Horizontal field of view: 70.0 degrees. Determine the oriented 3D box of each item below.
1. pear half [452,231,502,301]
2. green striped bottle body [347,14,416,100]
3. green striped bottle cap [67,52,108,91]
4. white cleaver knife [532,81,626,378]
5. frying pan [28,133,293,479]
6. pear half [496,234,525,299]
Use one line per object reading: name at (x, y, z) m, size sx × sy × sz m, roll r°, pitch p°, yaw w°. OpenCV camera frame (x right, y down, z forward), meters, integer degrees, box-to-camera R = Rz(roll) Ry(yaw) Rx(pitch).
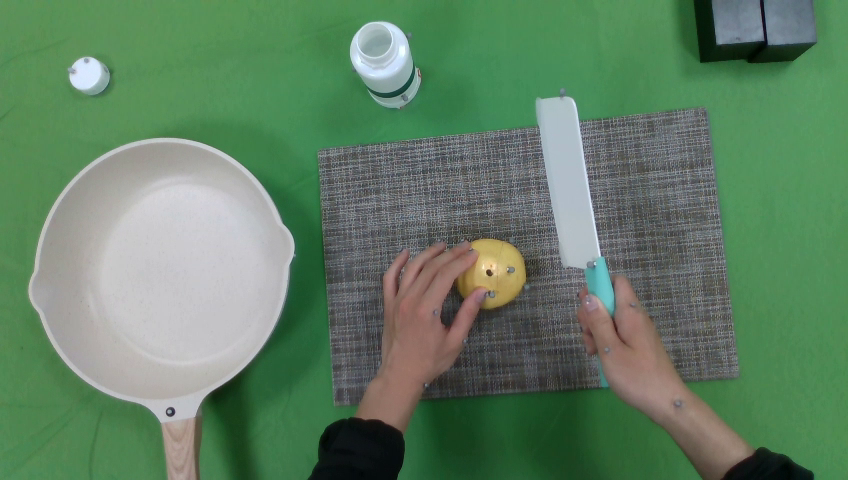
pear half at (0.056, 0.026, 0.639) m, size 0.056 × 0.110 × 0.076 m, roll 0°, pitch 83°, yaw 7°
green striped bottle body at (-0.046, -0.201, 0.663) m, size 0.063 × 0.119 × 0.063 m, roll 0°, pitch 85°, yaw 6°
green striped bottle cap at (-0.417, -0.209, 0.750) m, size 0.044 × 0.020 × 0.044 m, roll 0°, pitch 86°, yaw 6°
white cleaver knife at (0.147, -0.005, 0.571) m, size 0.021 × 0.065 × 0.287 m, roll -16°, pitch 100°, yaw -22°
frying pan at (-0.273, 0.127, 0.670) m, size 0.307 × 0.103 × 0.485 m, roll -10°, pitch 77°, yaw 5°
pear half at (0.092, 0.028, 0.646) m, size 0.031 × 0.088 × 0.070 m, roll 0°, pitch 83°, yaw 6°
